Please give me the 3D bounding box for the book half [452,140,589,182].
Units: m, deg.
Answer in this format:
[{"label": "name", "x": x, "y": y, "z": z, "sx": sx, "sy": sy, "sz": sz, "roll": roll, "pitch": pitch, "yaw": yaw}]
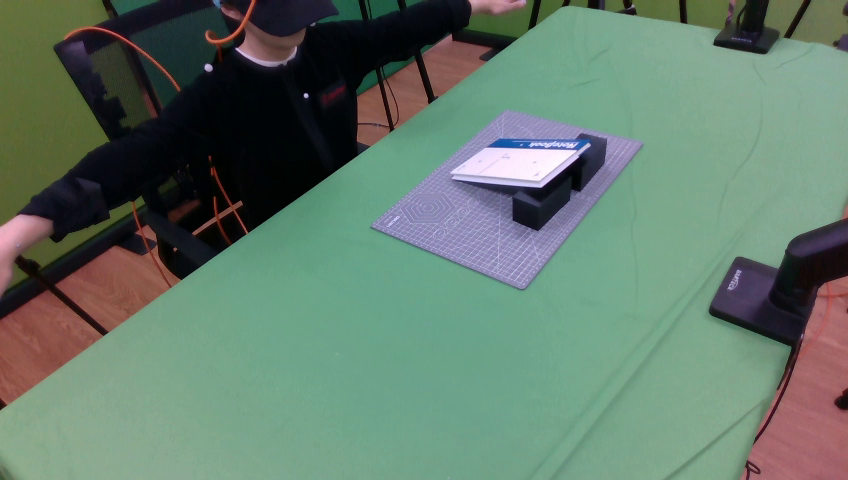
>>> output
[{"label": "book half", "x": 0.166, "y": -0.143, "z": 1.065, "sx": 0.144, "sy": 0.007, "sz": 0.208, "roll": -37, "pitch": 30, "yaw": -30}]
